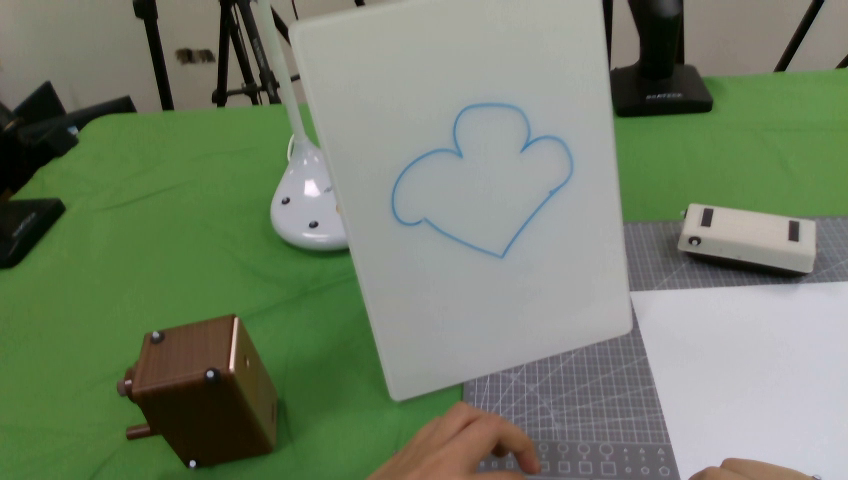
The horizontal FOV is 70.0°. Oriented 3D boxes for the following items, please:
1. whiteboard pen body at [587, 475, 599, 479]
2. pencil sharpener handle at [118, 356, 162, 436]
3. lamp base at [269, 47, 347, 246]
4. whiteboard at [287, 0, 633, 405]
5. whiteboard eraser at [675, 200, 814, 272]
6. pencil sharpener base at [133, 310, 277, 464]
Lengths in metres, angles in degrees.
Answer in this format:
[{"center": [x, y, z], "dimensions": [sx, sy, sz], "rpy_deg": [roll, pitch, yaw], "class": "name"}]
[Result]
[{"center": [0.141, 0.170, 0.314], "dimensions": [0.017, 0.017, 0.139], "rpy_deg": [-34, 47, -26], "class": "whiteboard pen body"}, {"center": [-0.216, 0.119, 0.451], "dimensions": [0.030, 0.068, 0.035], "rpy_deg": [-12, 28, -3], "class": "pencil sharpener handle"}, {"center": [-0.118, -0.111, 0.661], "dimensions": [0.160, 0.182, 0.177], "rpy_deg": [-35, 45, -27], "class": "lamp base"}, {"center": [0.034, -0.053, 0.516], "dimensions": [0.217, 0.307, 0.142], "rpy_deg": [-15, 22, -6], "class": "whiteboard"}, {"center": [0.298, -0.004, 0.565], "dimensions": [0.112, 0.042, 0.055], "rpy_deg": [12, 46, 23], "class": "whiteboard eraser"}, {"center": [-0.165, 0.116, 0.465], "dimensions": [0.077, 0.108, 0.060], "rpy_deg": [-12, 41, -3], "class": "pencil sharpener base"}]
